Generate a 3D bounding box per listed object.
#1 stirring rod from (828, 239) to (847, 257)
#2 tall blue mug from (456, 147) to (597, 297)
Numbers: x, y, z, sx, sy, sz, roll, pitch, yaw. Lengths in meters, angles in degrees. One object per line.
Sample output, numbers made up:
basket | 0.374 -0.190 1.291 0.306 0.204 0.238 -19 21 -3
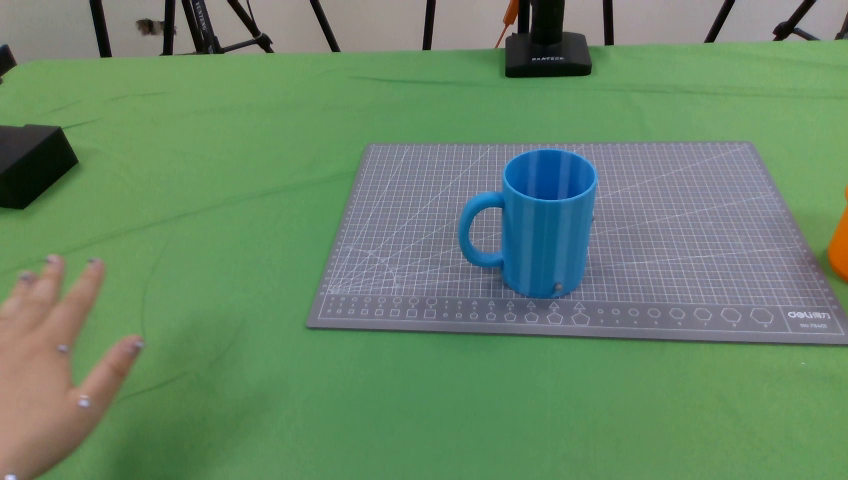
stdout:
stirring rod | 0.422 -0.026 0.488 0.176 0.006 0.014 -32 27 38
tall blue mug | 0.090 -0.008 0.517 0.107 0.109 0.077 -25 46 -22
